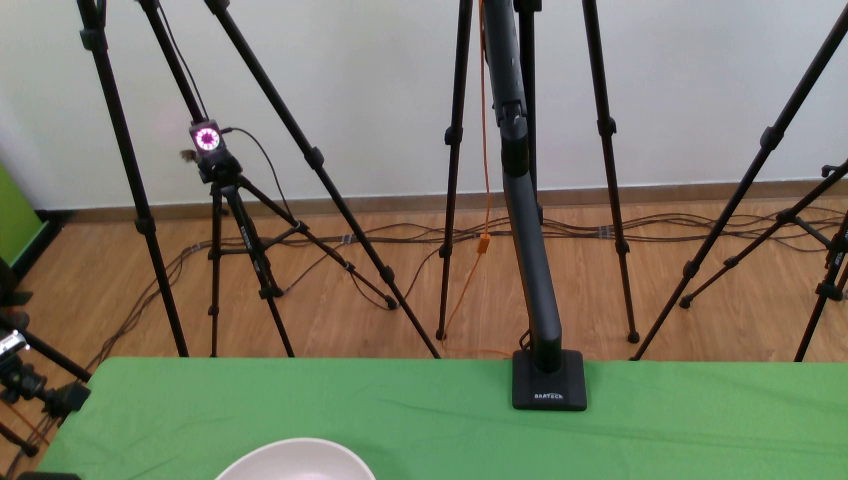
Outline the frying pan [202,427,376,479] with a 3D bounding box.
[{"bbox_3d":[-0.212,0.471,0.775,0.306,0.103,0.484,-2,35,10],"label":"frying pan"}]
